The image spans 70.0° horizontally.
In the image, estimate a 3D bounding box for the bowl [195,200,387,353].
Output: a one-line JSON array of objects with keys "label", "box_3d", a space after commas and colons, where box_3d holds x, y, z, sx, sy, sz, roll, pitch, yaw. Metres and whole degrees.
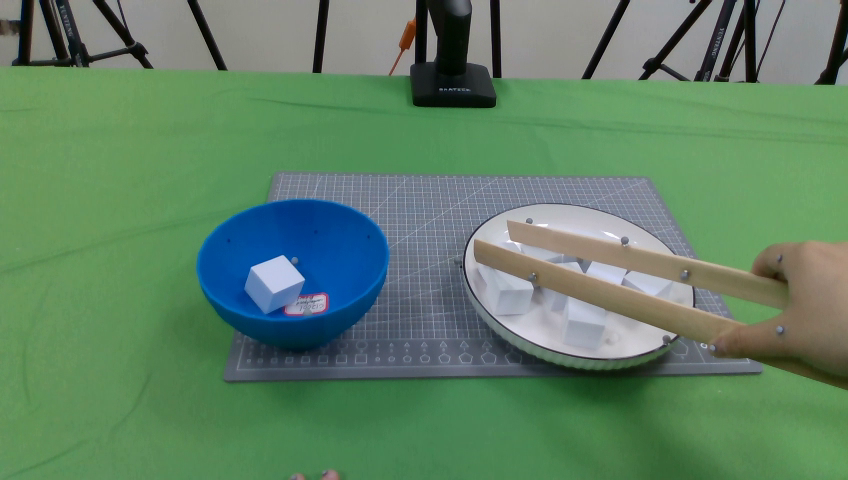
[{"label": "bowl", "box_3d": [-0.106, 0.041, 0.507, 0.151, 0.077, 0.150, 3, 39, -2]}]

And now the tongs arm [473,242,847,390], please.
[{"label": "tongs arm", "box_3d": [0.188, 0.053, 0.422, 0.384, 0.028, 0.028, 16, 34, 40]}]

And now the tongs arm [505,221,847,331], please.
[{"label": "tongs arm", "box_3d": [0.209, 0.040, 0.439, 0.381, 0.027, 0.051, 15, 36, 38]}]

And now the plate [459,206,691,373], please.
[{"label": "plate", "box_3d": [0.134, 0.044, 0.557, 0.208, 0.039, 0.205, 3, 39, -2]}]
